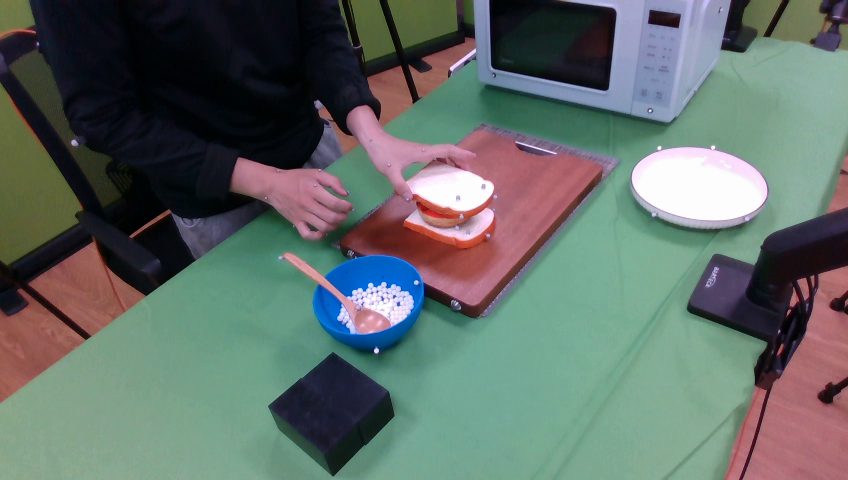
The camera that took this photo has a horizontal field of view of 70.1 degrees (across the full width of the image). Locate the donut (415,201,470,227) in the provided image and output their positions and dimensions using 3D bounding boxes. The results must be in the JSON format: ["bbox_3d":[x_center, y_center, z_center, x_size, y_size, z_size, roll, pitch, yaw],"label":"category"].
[{"bbox_3d":[0.036,-0.058,0.944,0.099,0.048,0.098,-5,39,4],"label":"donut"}]

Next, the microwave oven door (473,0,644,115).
[{"bbox_3d":[0.257,-0.396,1.199,0.353,0.245,0.039,21,48,29],"label":"microwave oven door"}]

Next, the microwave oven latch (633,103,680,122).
[{"bbox_3d":[0.444,-0.249,1.157,0.078,0.029,0.030,21,49,30],"label":"microwave oven latch"}]

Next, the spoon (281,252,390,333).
[{"bbox_3d":[-0.122,0.070,0.811,0.193,0.022,0.042,38,63,16],"label":"spoon"}]

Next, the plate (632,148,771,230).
[{"bbox_3d":[0.447,-0.081,0.988,0.207,0.039,0.206,-4,40,4],"label":"plate"}]

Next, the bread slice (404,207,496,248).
[{"bbox_3d":[0.049,-0.035,0.961,0.130,0.019,0.105,22,49,32],"label":"bread slice"}]

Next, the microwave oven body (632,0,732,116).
[{"bbox_3d":[0.377,-0.462,1.267,0.438,0.261,0.327,21,49,30],"label":"microwave oven body"}]

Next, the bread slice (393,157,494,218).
[{"bbox_3d":[0.038,-0.078,0.921,0.133,0.018,0.107,22,47,25],"label":"bread slice"}]

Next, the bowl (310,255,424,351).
[{"bbox_3d":[-0.071,0.098,0.821,0.151,0.077,0.150,-4,40,4],"label":"bowl"}]
